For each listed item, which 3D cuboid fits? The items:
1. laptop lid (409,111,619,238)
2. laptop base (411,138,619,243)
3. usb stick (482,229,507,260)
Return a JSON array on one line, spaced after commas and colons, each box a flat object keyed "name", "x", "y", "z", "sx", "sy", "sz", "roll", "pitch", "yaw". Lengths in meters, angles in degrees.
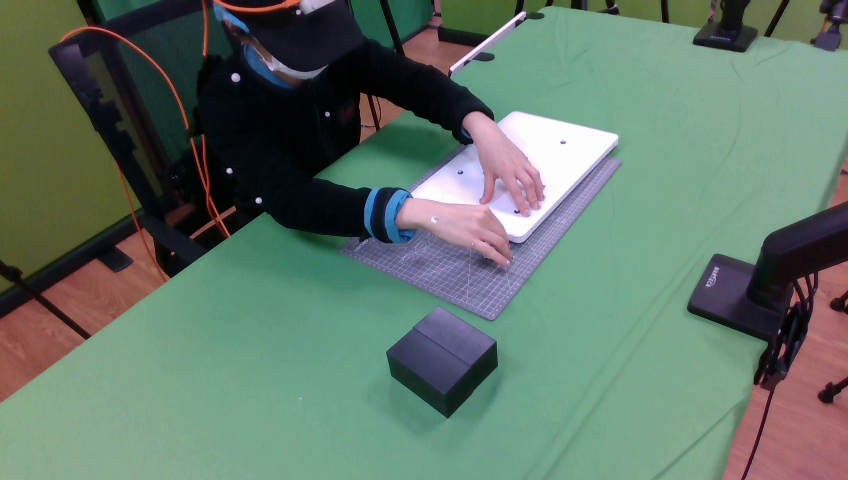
[{"name": "laptop lid", "x": 0.167, "y": -0.136, "z": 1.090, "sx": 0.239, "sy": 0.013, "sz": 0.358, "roll": 24, "pitch": 49, "yaw": 34}, {"name": "laptop base", "x": 0.170, "y": -0.126, "z": 1.096, "sx": 0.233, "sy": 0.023, "sz": 0.355, "roll": 21, "pitch": 47, "yaw": 33}, {"name": "usb stick", "x": 0.112, "y": 0.002, "z": 0.931, "sx": 0.021, "sy": 0.027, "sz": 0.059, "roll": 13, "pitch": 40, "yaw": 28}]
